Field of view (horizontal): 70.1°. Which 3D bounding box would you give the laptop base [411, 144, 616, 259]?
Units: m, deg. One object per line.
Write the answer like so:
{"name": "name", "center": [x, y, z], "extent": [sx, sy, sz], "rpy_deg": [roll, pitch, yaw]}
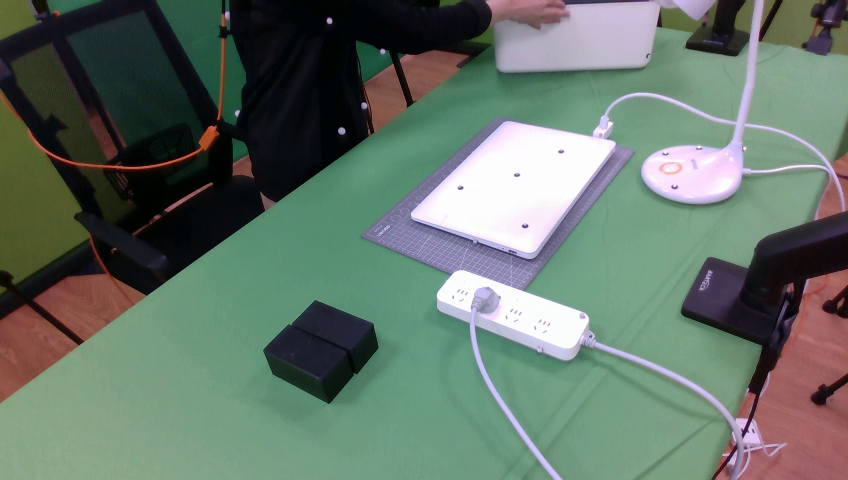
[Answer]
{"name": "laptop base", "center": [0.168, -0.102, 1.073], "extent": [0.234, 0.023, 0.355], "rpy_deg": [17, 46, 30]}

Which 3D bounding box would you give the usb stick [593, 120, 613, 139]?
{"name": "usb stick", "center": [0.336, -0.201, 1.147], "extent": [0.021, 0.027, 0.059], "rpy_deg": [26, 53, 27]}

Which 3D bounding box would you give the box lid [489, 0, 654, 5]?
{"name": "box lid", "center": [0.340, -0.584, 1.374], "extent": [0.371, 0.015, 0.262], "rpy_deg": [2, 39, 8]}

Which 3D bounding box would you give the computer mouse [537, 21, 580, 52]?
{"name": "computer mouse", "center": [0.335, -0.503, 1.488], "extent": [0.118, 0.041, 0.062], "rpy_deg": [21, 20, -28]}

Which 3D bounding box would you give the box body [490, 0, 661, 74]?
{"name": "box body", "center": [0.346, -0.520, 1.429], "extent": [0.363, 0.161, 0.253], "rpy_deg": [0, 41, 9]}

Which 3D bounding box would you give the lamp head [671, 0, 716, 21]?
{"name": "lamp head", "center": [0.375, -0.373, 0.807], "extent": [0.122, 0.113, 0.112], "rpy_deg": [-40, 27, 32]}

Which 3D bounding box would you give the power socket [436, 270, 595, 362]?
{"name": "power socket", "center": [0.118, 0.101, 0.832], "extent": [0.225, 0.033, 0.072], "rpy_deg": [19, 48, 27]}

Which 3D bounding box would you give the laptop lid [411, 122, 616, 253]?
{"name": "laptop lid", "center": [0.164, -0.111, 1.067], "extent": [0.240, 0.013, 0.357], "rpy_deg": [19, 46, 31]}

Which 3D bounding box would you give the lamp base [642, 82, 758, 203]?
{"name": "lamp base", "center": [0.464, -0.174, 0.992], "extent": [0.179, 0.181, 0.159], "rpy_deg": [-5, 41, -1]}

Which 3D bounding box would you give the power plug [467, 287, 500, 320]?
{"name": "power plug", "center": [0.073, 0.092, 0.814], "extent": [0.035, 0.053, 0.073], "rpy_deg": [29, 54, 34]}
